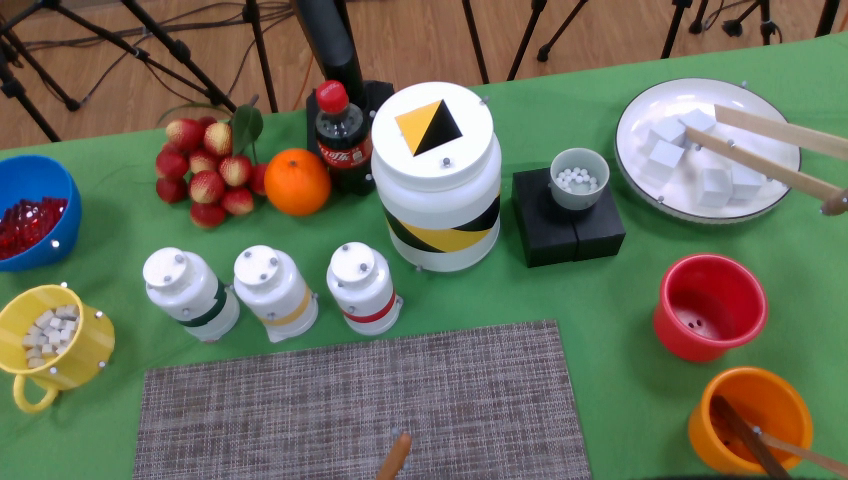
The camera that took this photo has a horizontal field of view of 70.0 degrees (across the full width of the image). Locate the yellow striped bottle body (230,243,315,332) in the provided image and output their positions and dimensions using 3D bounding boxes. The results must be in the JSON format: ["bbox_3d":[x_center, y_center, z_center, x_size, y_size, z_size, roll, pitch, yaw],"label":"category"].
[{"bbox_3d":[-0.159,0.046,0.632,0.063,0.121,0.062,-2,61,5],"label":"yellow striped bottle body"}]

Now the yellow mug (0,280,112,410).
[{"bbox_3d":[-0.405,0.114,0.647,0.100,0.064,0.130,2,63,5],"label":"yellow mug"}]

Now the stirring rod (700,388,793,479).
[{"bbox_3d":[0.282,0.176,0.517,0.014,0.006,0.175,-4,19,-1],"label":"stirring rod"}]

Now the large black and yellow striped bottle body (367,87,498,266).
[{"bbox_3d":[0.012,-0.066,0.642,0.131,0.185,0.129,-2,62,4],"label":"large black and yellow striped bottle body"}]

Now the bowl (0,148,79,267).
[{"bbox_3d":[-0.476,-0.026,0.721,0.151,0.077,0.150,-2,62,3],"label":"bowl"}]

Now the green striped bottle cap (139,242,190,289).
[{"bbox_3d":[-0.254,0.025,0.592,0.044,0.020,0.044,-1,62,2],"label":"green striped bottle cap"}]

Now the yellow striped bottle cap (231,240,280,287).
[{"bbox_3d":[-0.163,0.022,0.587,0.044,0.019,0.044,-2,63,3],"label":"yellow striped bottle cap"}]

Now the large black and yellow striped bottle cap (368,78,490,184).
[{"bbox_3d":[0.005,-0.105,0.567,0.115,0.019,0.114,-2,61,5],"label":"large black and yellow striped bottle cap"}]

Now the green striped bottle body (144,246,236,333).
[{"bbox_3d":[-0.248,0.050,0.638,0.063,0.120,0.062,-2,62,4],"label":"green striped bottle body"}]

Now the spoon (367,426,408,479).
[{"bbox_3d":[-0.048,0.215,0.488,0.041,0.195,0.022,39,37,23],"label":"spoon"}]

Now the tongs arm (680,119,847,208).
[{"bbox_3d":[0.394,-0.056,0.567,0.051,0.027,0.380,-30,36,-6],"label":"tongs arm"}]

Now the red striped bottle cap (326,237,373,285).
[{"bbox_3d":[-0.071,0.019,0.579,0.044,0.018,0.044,0,60,1],"label":"red striped bottle cap"}]

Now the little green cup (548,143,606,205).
[{"bbox_3d":[0.163,-0.069,0.656,0.061,0.039,0.061,-1,59,2],"label":"little green cup"}]

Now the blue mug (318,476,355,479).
[{"bbox_3d":[-0.080,0.263,0.514,0.116,0.107,0.081,-42,66,-16],"label":"blue mug"}]

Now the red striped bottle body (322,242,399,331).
[{"bbox_3d":[-0.066,0.045,0.625,0.063,0.121,0.062,-3,60,6],"label":"red striped bottle body"}]

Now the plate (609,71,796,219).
[{"bbox_3d":[0.325,-0.111,0.723,0.209,0.038,0.207,-2,62,4],"label":"plate"}]

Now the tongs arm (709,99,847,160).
[{"bbox_3d":[0.418,-0.072,0.571,0.028,0.028,0.383,-29,36,-10],"label":"tongs arm"}]

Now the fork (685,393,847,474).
[{"bbox_3d":[0.311,0.173,0.507,0.028,0.019,0.206,-32,19,-20],"label":"fork"}]
